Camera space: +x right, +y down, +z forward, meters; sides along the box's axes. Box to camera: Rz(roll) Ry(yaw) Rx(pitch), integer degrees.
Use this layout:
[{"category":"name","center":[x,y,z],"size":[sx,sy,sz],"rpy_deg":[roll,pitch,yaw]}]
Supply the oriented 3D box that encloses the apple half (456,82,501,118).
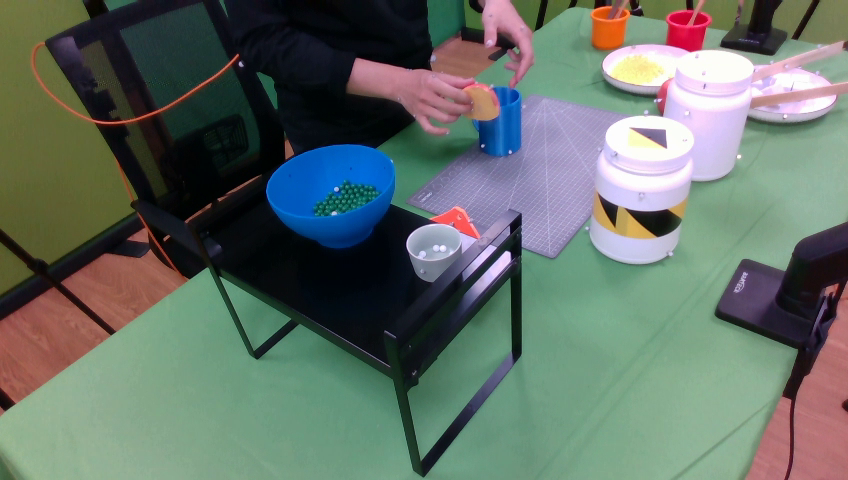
[{"category":"apple half","center":[0.093,-0.241,1.018],"size":[0.081,0.082,0.032],"rpy_deg":[10,64,20]}]

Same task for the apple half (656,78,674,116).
[{"category":"apple half","center":[0.488,-0.281,1.192],"size":[0.053,0.075,0.081],"rpy_deg":[24,54,37]}]

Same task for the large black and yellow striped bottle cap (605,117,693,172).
[{"category":"large black and yellow striped bottle cap","center":[0.309,-0.134,0.833],"size":[0.115,0.019,0.114],"rpy_deg":[-5,40,5]}]

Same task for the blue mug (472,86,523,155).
[{"category":"blue mug","center":[0.135,-0.235,1.163],"size":[0.082,0.106,0.115],"rpy_deg":[-36,48,-28]}]

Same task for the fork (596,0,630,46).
[{"category":"fork","center":[0.481,-0.556,1.452],"size":[0.028,0.019,0.207],"rpy_deg":[40,103,40]}]

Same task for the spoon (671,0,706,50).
[{"category":"spoon","center":[0.629,-0.520,1.394],"size":[0.041,0.022,0.193],"rpy_deg":[30,96,34]}]

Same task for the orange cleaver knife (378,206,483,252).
[{"category":"orange cleaver knife","center":[0.005,-0.010,0.943],"size":[0.210,0.077,0.012],"rpy_deg":[-5,23,47]}]

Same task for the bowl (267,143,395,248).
[{"category":"bowl","center":[-0.104,-0.043,0.726],"size":[0.151,0.077,0.150],"rpy_deg":[-4,41,4]}]

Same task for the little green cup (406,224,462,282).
[{"category":"little green cup","center":[0.012,0.015,0.668],"size":[0.061,0.039,0.061],"rpy_deg":[-4,40,4]}]

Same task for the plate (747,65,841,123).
[{"category":"plate","center":[0.695,-0.282,1.189],"size":[0.207,0.039,0.206],"rpy_deg":[-4,40,4]}]

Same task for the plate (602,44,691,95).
[{"category":"plate","center":[0.495,-0.367,1.317],"size":[0.209,0.038,0.208],"rpy_deg":[-4,40,4]}]

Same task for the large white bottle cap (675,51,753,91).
[{"category":"large white bottle cap","center":[0.463,-0.271,0.967],"size":[0.115,0.018,0.114],"rpy_deg":[-4,40,4]}]

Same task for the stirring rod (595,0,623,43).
[{"category":"stirring rod","center":[0.460,-0.556,1.460],"size":[0.014,0.006,0.176],"rpy_deg":[30,93,23]}]

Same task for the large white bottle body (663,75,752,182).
[{"category":"large white bottle body","center":[0.472,-0.207,1.022],"size":[0.130,0.185,0.130],"rpy_deg":[-4,41,4]}]

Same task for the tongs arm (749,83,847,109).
[{"category":"tongs arm","center":[0.734,-0.280,1.134],"size":[0.388,0.028,0.028],"rpy_deg":[-9,47,-5]}]

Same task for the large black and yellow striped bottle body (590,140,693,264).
[{"category":"large black and yellow striped bottle body","center":[0.317,-0.071,0.889],"size":[0.131,0.185,0.130],"rpy_deg":[-4,41,4]}]

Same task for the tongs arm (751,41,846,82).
[{"category":"tongs arm","center":[0.708,-0.331,1.194],"size":[0.386,0.026,0.050],"rpy_deg":[-18,45,-16]}]
